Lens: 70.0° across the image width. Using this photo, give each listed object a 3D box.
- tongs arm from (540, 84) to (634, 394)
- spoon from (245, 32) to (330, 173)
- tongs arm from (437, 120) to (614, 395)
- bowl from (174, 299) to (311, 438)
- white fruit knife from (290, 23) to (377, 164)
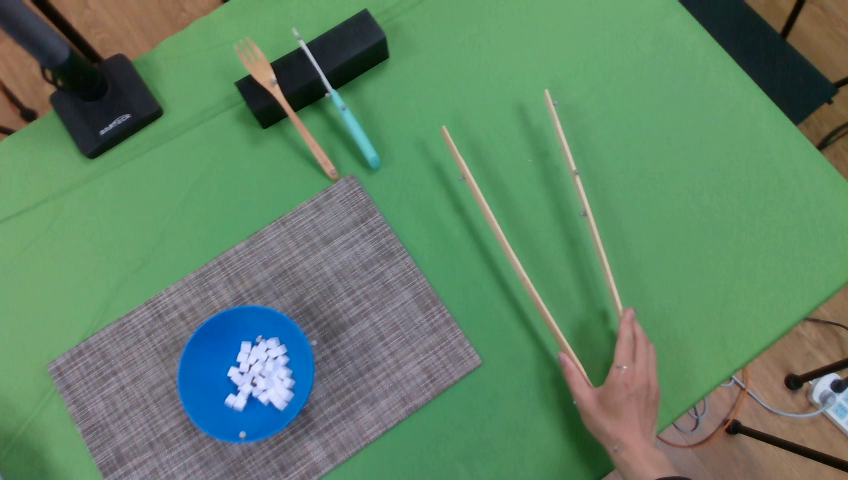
[{"bbox_3d":[0.184,-0.009,0.734,0.051,0.026,0.383,-16,79,-5],"label":"tongs arm"},{"bbox_3d":[-0.172,-0.173,0.776,0.041,0.021,0.194,-23,98,18],"label":"spoon"},{"bbox_3d":[0.112,0.018,0.729,0.028,0.028,0.386,-27,80,-11],"label":"tongs arm"},{"bbox_3d":[-0.199,0.149,0.703,0.151,0.077,0.150,0,76,1],"label":"bowl"},{"bbox_3d":[-0.119,-0.191,0.785,0.016,0.027,0.207,-32,93,-11],"label":"white fruit knife"}]
